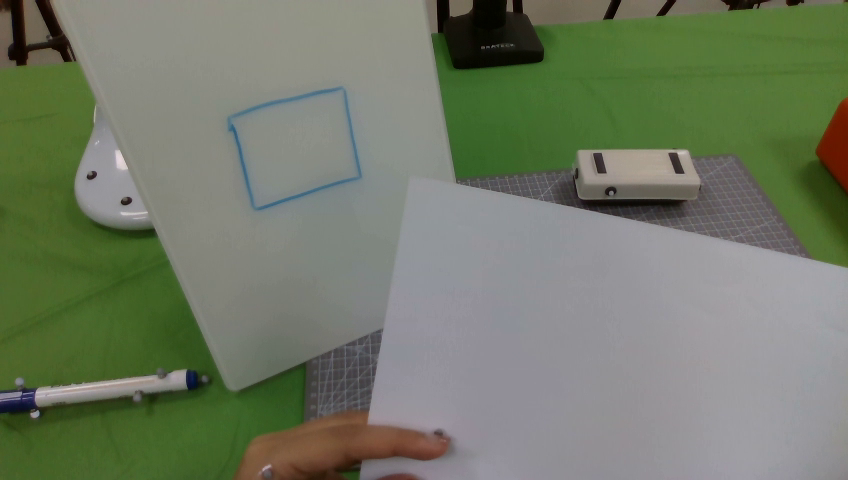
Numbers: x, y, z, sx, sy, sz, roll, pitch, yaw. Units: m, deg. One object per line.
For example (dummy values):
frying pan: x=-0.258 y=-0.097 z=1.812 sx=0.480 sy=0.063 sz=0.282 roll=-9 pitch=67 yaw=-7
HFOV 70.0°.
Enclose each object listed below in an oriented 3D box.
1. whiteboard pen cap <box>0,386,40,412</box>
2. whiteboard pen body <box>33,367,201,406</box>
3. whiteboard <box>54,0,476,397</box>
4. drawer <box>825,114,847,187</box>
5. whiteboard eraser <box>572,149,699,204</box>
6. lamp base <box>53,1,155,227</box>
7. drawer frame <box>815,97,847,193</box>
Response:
whiteboard pen cap: x=-0.302 y=0.118 z=0.450 sx=0.033 sy=0.018 sz=0.018 roll=-4 pitch=46 yaw=-11
whiteboard pen body: x=-0.243 y=0.112 z=0.458 sx=0.141 sy=0.017 sz=0.017 roll=-6 pitch=46 yaw=-9
whiteboard: x=-0.105 y=-0.074 z=0.478 sx=0.217 sy=0.308 sz=0.142 roll=-21 pitch=30 yaw=-16
drawer: x=0.514 y=-0.041 z=0.543 sx=0.194 sy=0.074 sz=0.209 roll=-4 pitch=45 yaw=0
whiteboard eraser: x=0.205 y=-0.061 z=0.595 sx=0.113 sy=0.042 sz=0.055 roll=0 pitch=45 yaw=2
lamp base: x=-0.290 y=-0.129 z=0.583 sx=0.178 sy=0.182 sz=0.160 roll=25 pitch=52 yaw=27
drawer frame: x=0.514 y=-0.047 z=0.547 sx=0.202 sy=0.083 sz=0.211 roll=-5 pitch=46 yaw=-2
